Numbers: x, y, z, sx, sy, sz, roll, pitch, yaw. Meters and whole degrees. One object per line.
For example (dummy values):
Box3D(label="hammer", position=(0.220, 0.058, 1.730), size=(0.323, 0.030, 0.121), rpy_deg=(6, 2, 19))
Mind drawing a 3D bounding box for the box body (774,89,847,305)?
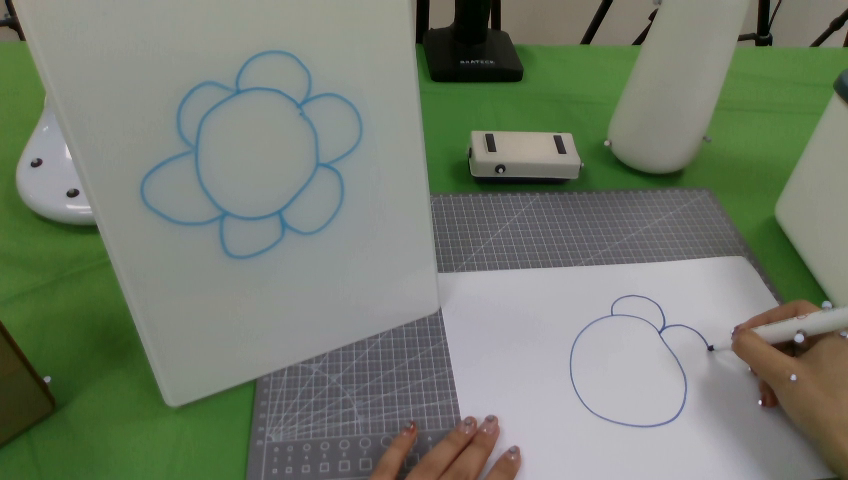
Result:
Box3D(label="box body", position=(0.485, 0.032, 0.465), size=(0.254, 0.162, 0.360), rpy_deg=(-1, 45, -6))

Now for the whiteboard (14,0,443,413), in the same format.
Box3D(label="whiteboard", position=(-0.124, -0.069, 0.447), size=(0.218, 0.308, 0.142), rpy_deg=(-17, 30, -20))

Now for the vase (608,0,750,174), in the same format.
Box3D(label="vase", position=(0.258, -0.165, 0.615), size=(0.098, 0.201, 0.097), rpy_deg=(3, 45, -3))

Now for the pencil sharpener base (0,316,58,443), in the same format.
Box3D(label="pencil sharpener base", position=(-0.297, 0.075, 0.385), size=(0.076, 0.108, 0.061), rpy_deg=(33, 51, 25))

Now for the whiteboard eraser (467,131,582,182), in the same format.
Box3D(label="whiteboard eraser", position=(0.103, -0.086, 0.633), size=(0.113, 0.042, 0.055), rpy_deg=(-1, 43, -5))

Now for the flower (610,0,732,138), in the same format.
Box3D(label="flower", position=(0.274, -0.214, 0.548), size=(0.044, 0.363, 0.038), rpy_deg=(-23, 69, -33))

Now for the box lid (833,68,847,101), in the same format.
Box3D(label="box lid", position=(0.488, -0.019, 0.410), size=(0.264, 0.015, 0.367), rpy_deg=(-1, 44, -6))

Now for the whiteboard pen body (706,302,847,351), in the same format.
Box3D(label="whiteboard pen body", position=(0.261, 0.064, 0.435), size=(0.017, 0.141, 0.017), rpy_deg=(10, 66, -23))

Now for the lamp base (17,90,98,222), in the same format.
Box3D(label="lamp base", position=(-0.310, -0.133, 0.541), size=(0.178, 0.182, 0.160), rpy_deg=(27, 49, 24))
